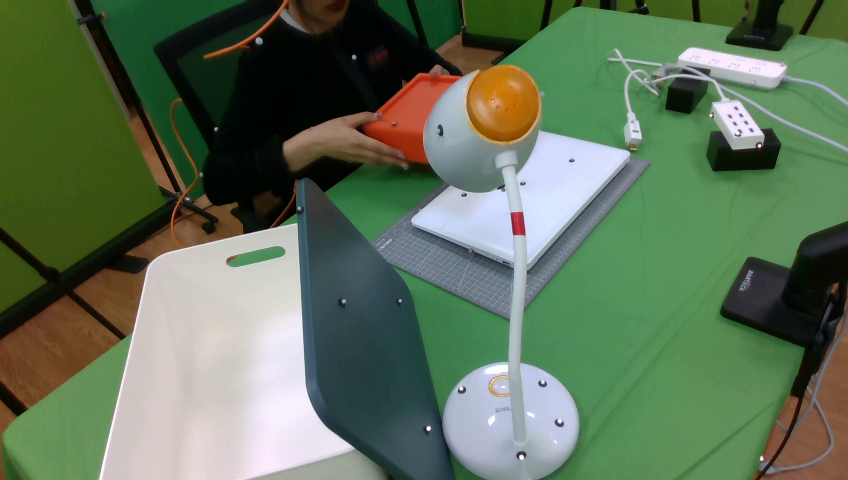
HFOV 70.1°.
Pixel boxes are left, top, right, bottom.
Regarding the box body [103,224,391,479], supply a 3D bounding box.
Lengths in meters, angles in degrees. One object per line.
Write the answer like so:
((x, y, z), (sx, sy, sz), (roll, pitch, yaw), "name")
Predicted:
((-0.190, 0.161, 0.723), (0.255, 0.161, 0.361), (-13, 40, -5), "box body")

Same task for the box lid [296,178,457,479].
((-0.060, 0.103, 0.702), (0.015, 0.265, 0.369), (-30, 39, 11), "box lid")

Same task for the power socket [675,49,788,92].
((0.647, -0.363, 1.284), (0.225, 0.033, 0.072), (26, 53, 35), "power socket")

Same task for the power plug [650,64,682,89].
((0.498, -0.341, 1.263), (0.035, 0.052, 0.072), (20, 10, -7), "power plug")

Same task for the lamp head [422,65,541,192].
((0.060, -0.106, 0.560), (0.113, 0.112, 0.122), (-16, 0, -8), "lamp head")

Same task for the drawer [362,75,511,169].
((0.027, -0.225, 1.133), (0.210, 0.073, 0.195), (15, 49, 32), "drawer")

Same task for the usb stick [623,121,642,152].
((0.389, -0.191, 1.128), (0.021, 0.027, 0.059), (9, 61, -9), "usb stick")

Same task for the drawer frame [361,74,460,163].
((0.030, -0.227, 1.131), (0.212, 0.083, 0.202), (14, 47, 32), "drawer frame")

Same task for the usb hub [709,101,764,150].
((0.534, -0.199, 1.040), (0.049, 0.025, 0.124), (-5, 39, 8), "usb hub")

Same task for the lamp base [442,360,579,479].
((0.094, 0.158, 0.657), (0.161, 0.181, 0.178), (-14, 42, -5), "lamp base")

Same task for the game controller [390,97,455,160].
((-0.006, -0.222, 1.163), (0.096, 0.052, 0.155), (-16, 28, 48), "game controller")

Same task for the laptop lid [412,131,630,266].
((0.172, -0.094, 1.050), (0.239, 0.013, 0.358), (23, 49, 36), "laptop lid")

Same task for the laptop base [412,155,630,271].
((0.175, -0.084, 1.056), (0.233, 0.023, 0.355), (21, 48, 35), "laptop base")
